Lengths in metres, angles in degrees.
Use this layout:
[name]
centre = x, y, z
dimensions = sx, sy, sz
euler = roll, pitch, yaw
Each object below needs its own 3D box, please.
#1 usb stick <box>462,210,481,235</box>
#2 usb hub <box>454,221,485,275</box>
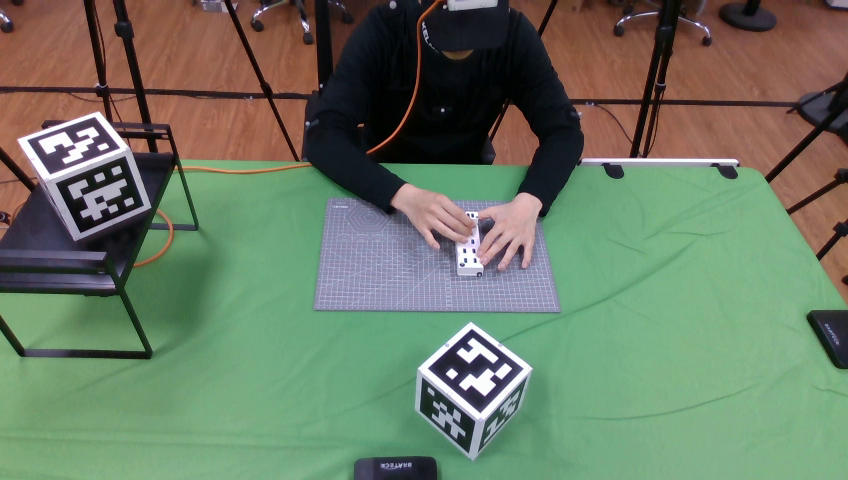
[usb stick]
centre = 0.093, -0.038, 1.168
dimensions = 0.027, 0.059, 0.021
euler = -23, 61, -18
[usb hub]
centre = 0.087, 0.014, 1.178
dimensions = 0.049, 0.025, 0.124
euler = 0, 46, -3
